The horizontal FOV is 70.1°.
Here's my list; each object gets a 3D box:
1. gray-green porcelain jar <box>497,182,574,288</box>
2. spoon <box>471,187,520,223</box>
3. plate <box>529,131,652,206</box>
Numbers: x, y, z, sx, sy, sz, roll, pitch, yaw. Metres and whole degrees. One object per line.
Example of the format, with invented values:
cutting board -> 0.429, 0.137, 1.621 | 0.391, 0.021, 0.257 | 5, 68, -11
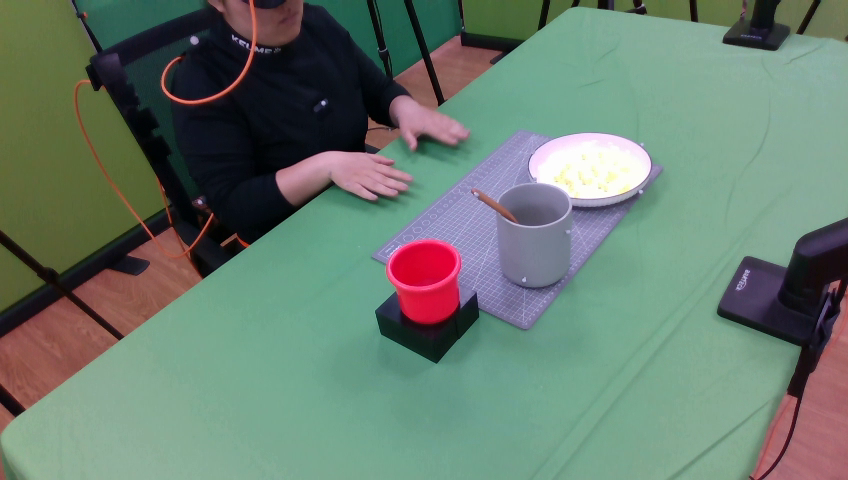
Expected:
gray-green porcelain jar -> 0.160, -0.003, 0.869 | 0.106, 0.127, 0.105 | -5, 40, 5
spoon -> 0.122, -0.026, 0.837 | 0.021, 0.195, 0.041 | -32, 47, 19
plate -> 0.287, -0.122, 1.055 | 0.207, 0.039, 0.206 | -5, 40, 5
